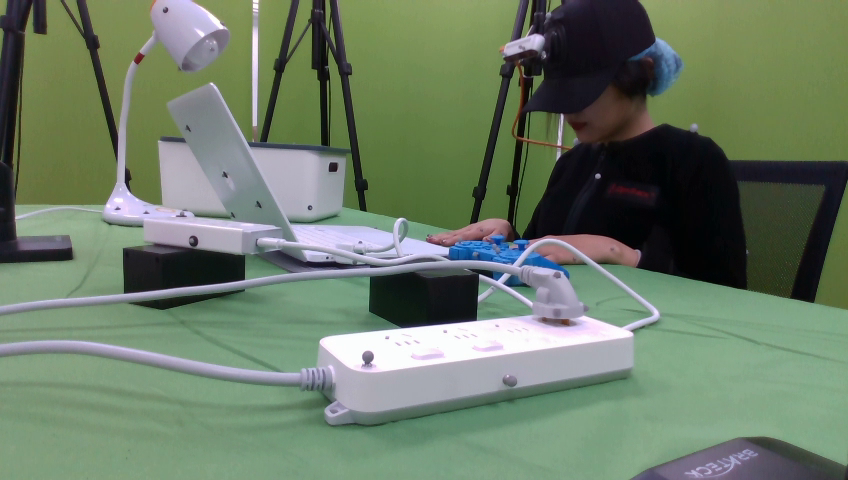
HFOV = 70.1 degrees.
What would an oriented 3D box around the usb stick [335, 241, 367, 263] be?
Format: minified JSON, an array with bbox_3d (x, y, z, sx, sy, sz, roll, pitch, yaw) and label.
[{"bbox_3d":[-0.093,0.015,0.742,0.021,0.027,0.059,-4,1,-34],"label":"usb stick"}]

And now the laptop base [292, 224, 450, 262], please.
[{"bbox_3d":[-0.126,0.002,0.946,0.237,0.023,0.352,2,6,-31],"label":"laptop base"}]

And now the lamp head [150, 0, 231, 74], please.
[{"bbox_3d":[-0.432,-0.374,1.086,0.123,0.112,0.112,42,8,-2],"label":"lamp head"}]

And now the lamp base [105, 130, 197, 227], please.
[{"bbox_3d":[-0.532,-0.120,1.153,0.179,0.180,0.161,1,7,8],"label":"lamp base"}]

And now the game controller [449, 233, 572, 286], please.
[{"bbox_3d":[0.101,0.021,0.760,0.097,0.051,0.154,-7,10,-30],"label":"game controller"}]

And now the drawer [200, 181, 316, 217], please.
[{"bbox_3d":[-0.372,-0.097,1.393,0.212,0.073,0.194,1,9,6],"label":"drawer"}]

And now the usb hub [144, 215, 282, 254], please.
[{"bbox_3d":[-0.200,-0.006,0.574,0.125,0.025,0.050,6,7,23],"label":"usb hub"}]

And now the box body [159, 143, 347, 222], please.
[{"bbox_3d":[-0.384,-0.137,1.407,0.364,0.160,0.254,3,8,7],"label":"box body"}]

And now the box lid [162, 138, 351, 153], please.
[{"bbox_3d":[-0.371,-0.215,1.394,0.371,0.015,0.263,4,8,7],"label":"box lid"}]

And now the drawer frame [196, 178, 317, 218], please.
[{"bbox_3d":[-0.376,-0.101,1.393,0.213,0.082,0.202,1,8,6],"label":"drawer frame"}]

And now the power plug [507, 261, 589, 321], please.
[{"bbox_3d":[0.091,0.043,0.444,0.035,0.052,0.072,-1,5,-18],"label":"power plug"}]

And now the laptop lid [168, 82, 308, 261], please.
[{"bbox_3d":[-0.273,-0.094,0.844,0.013,0.242,0.355,-33,24,-22],"label":"laptop lid"}]

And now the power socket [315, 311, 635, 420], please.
[{"bbox_3d":[0.039,0.072,0.385,0.228,0.032,0.072,-2,7,-29],"label":"power socket"}]
